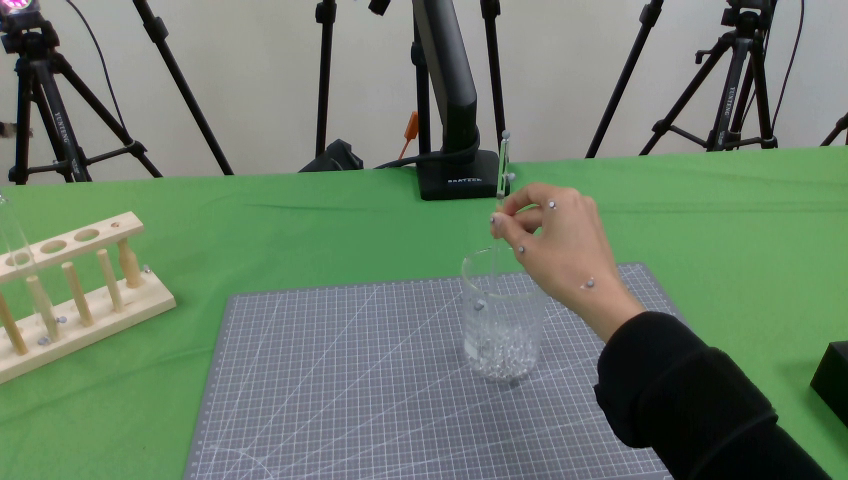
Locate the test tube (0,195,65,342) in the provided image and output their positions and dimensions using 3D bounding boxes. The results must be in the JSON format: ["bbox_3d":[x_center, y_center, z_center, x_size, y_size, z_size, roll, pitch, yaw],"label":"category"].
[{"bbox_3d":[-0.340,0.028,0.521,0.017,0.151,0.017,1,33,0],"label":"test tube"}]

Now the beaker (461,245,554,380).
[{"bbox_3d":[0.066,0.064,0.527,0.083,0.101,0.074,28,43,36],"label":"beaker"}]

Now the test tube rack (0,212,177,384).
[{"bbox_3d":[-0.365,0.064,0.550,0.243,0.086,0.066,-26,42,-33],"label":"test tube rack"}]

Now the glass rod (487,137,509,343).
[{"bbox_3d":[0.063,0.009,0.513,0.008,0.201,0.008,0,30,0],"label":"glass rod"}]
